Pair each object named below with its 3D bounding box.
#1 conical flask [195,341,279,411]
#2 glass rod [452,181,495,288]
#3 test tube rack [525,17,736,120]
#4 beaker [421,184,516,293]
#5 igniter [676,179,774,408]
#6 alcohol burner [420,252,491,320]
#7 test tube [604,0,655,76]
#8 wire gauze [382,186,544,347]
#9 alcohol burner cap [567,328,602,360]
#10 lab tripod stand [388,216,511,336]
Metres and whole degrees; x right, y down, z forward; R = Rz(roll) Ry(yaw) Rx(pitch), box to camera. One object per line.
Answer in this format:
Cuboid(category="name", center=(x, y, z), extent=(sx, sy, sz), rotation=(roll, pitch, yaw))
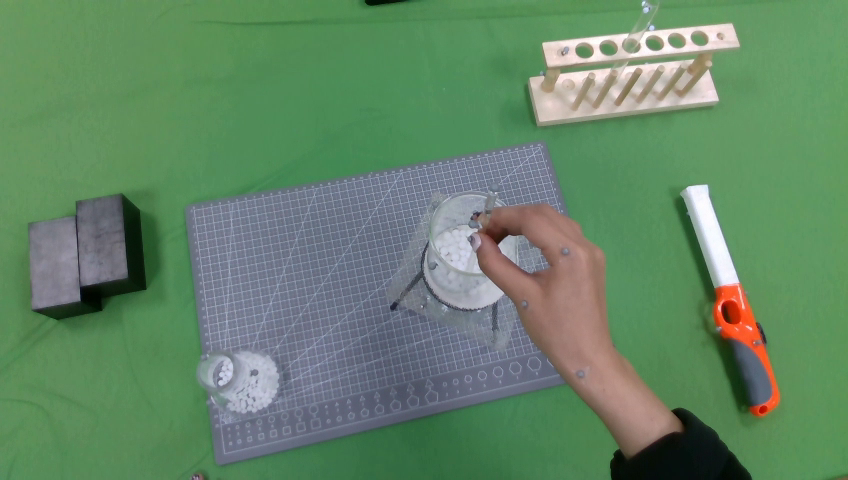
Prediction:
Cuboid(category="conical flask", center=(-0.193, 0.131, 0.608), extent=(0.075, 0.122, 0.075), rotation=(1, 72, -3))
Cuboid(category="glass rod", center=(0.036, 0.003, 0.478), extent=(0.008, 0.201, 0.008), rotation=(2, 67, -4))
Cuboid(category="test tube rack", center=(0.258, -0.215, 0.764), extent=(0.243, 0.085, 0.066), rotation=(-8, 73, -6))
Cuboid(category="beaker", center=(0.038, 0.005, 0.536), extent=(0.084, 0.101, 0.074), rotation=(37, 75, 8))
Cuboid(category="igniter", center=(0.355, 0.057, 0.717), extent=(0.057, 0.025, 0.274), rotation=(-6, 73, -17))
Cuboid(category="alcohol burner", center=(0.035, 0.046, 0.653), extent=(0.078, 0.119, 0.077), rotation=(0, 74, -1))
Cuboid(category="test tube", center=(0.242, -0.241, 0.719), extent=(0.017, 0.151, 0.017), rotation=(0, 73, 0))
Cuboid(category="wire gauze", center=(0.039, 0.022, 0.581), extent=(0.125, 0.011, 0.121), rotation=(25, 76, 3))
Cuboid(category="alcohol burner cap", center=(0.182, 0.114, 0.678), extent=(0.034, 0.048, 0.033), rotation=(1, 72, -3))
Cuboid(category="lab tripod stand", center=(0.033, 0.040, 0.644), extent=(0.148, 0.132, 0.147), rotation=(1, 74, -2))
